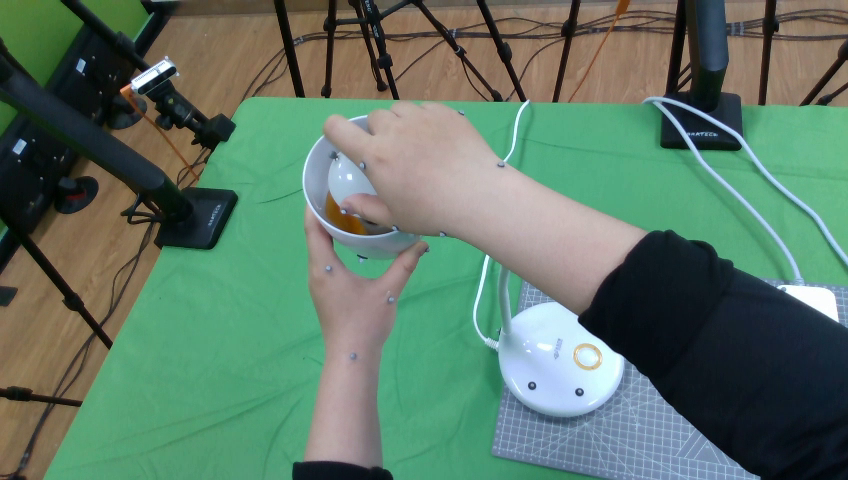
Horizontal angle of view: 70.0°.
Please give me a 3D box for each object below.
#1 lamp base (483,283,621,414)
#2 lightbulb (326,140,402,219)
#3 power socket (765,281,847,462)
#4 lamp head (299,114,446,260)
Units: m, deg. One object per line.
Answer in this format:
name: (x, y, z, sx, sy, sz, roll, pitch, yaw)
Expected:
lamp base: (0.148, 0.109, 0.738, 0.178, 0.182, 0.159, -1, 57, 16)
lightbulb: (-0.044, -0.042, 0.500, 0.059, 0.108, 0.059, -2, 73, 6)
power socket: (0.459, 0.148, 0.729, 0.072, 0.033, 0.225, 5, 58, 15)
lamp head: (-0.037, -0.031, 0.528, 0.112, 0.124, 0.111, -3, 66, 7)
